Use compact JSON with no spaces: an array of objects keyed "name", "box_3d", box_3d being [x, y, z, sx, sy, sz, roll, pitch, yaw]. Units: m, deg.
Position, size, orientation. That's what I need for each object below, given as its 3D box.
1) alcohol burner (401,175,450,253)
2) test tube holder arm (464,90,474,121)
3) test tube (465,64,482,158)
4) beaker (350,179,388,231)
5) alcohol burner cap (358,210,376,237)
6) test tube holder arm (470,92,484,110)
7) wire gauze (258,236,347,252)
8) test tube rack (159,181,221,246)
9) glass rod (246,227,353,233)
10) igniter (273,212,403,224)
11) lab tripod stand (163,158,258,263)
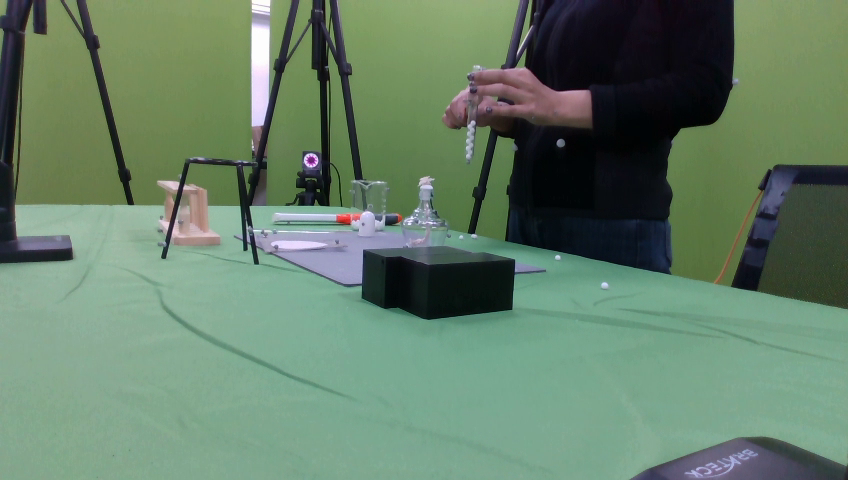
[{"name":"alcohol burner","box_3d":[0.003,-0.040,0.933,0.078,0.119,0.078,2,9,0]},{"name":"test tube holder arm","box_3d":[0.078,-0.230,1.044,0.013,0.015,0.178,9,0,0]},{"name":"test tube","box_3d":[0.080,-0.208,0.979,0.017,0.150,0.017,5,6,0]},{"name":"beaker","box_3d":[-0.111,-0.069,1.204,0.074,0.100,0.084,2,8,0]},{"name":"alcohol burner cap","box_3d":[-0.104,-0.030,1.098,0.034,0.048,0.034,3,7,0]},{"name":"test tube holder arm","box_3d":[0.085,-0.229,1.000,0.010,0.015,0.087,9,0,-7]},{"name":"wire gauze","box_3d":[-0.189,0.005,0.931,0.122,0.011,0.124,1,7,-21]},{"name":"test tube rack","box_3d":[-0.395,-0.050,1.010,0.067,0.085,0.241,-2,8,-28]},{"name":"glass rod","box_3d":[-0.224,-0.017,1.109,0.201,0.008,0.008,1,7,-27]},{"name":"igniter","box_3d":[-0.179,-0.048,1.290,0.278,0.025,0.057,-1,-2,-24]},{"name":"lab tripod stand","box_3d":[-0.265,-0.041,0.802,0.148,0.131,0.148,4,6,0]}]
